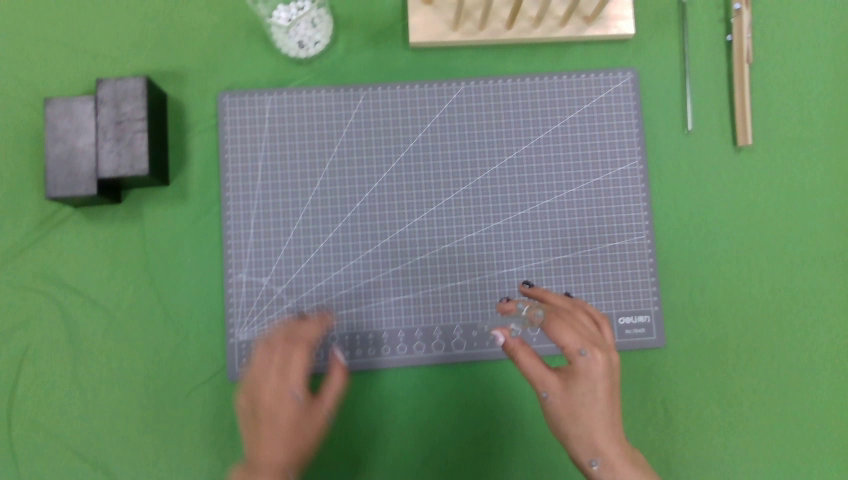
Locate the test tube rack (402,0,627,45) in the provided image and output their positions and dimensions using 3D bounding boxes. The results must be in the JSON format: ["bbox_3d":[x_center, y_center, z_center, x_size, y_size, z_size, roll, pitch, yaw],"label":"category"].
[{"bbox_3d":[0.098,-0.255,0.622,0.242,0.085,0.066,-3,84,-2],"label":"test tube rack"}]

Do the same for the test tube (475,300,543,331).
[{"bbox_3d":[0.066,0.065,0.501,0.017,0.150,0.017,2,78,-9],"label":"test tube"}]

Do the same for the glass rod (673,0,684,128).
[{"bbox_3d":[0.277,-0.220,0.663,0.008,0.008,0.199,0,84,-2],"label":"glass rod"}]

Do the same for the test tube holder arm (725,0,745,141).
[{"bbox_3d":[0.336,-0.195,0.654,0.013,0.015,0.178,5,84,-31],"label":"test tube holder arm"}]

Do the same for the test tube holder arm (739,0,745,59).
[{"bbox_3d":[0.342,-0.240,0.662,0.010,0.015,0.087,5,83,-31],"label":"test tube holder arm"}]

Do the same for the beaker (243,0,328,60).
[{"bbox_3d":[-0.136,-0.229,0.606,0.074,0.100,0.084,-2,84,-2],"label":"beaker"}]
